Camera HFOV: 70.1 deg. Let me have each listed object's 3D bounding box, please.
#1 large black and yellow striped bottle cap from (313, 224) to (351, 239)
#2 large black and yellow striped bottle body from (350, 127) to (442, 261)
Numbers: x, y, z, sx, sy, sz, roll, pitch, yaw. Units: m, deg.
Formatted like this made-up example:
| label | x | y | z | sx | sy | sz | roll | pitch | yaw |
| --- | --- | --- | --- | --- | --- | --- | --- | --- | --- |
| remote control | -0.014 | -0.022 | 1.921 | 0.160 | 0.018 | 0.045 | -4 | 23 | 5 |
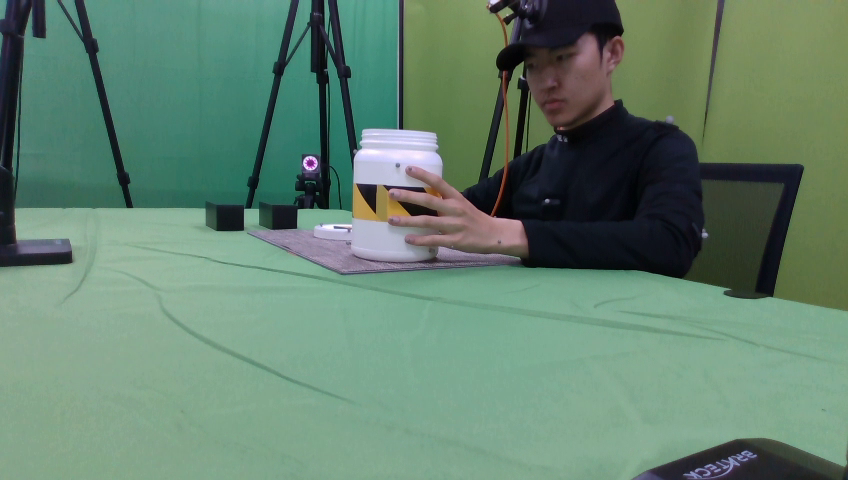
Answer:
| label | x | y | z | sx | sy | sz | roll | pitch | yaw |
| --- | --- | --- | --- | --- | --- | --- | --- | --- | --- |
| large black and yellow striped bottle cap | -0.145 | -0.017 | 1.109 | 0.115 | 0.019 | 0.115 | 3 | 7 | 0 |
| large black and yellow striped bottle body | -0.040 | -0.069 | 0.883 | 0.131 | 0.184 | 0.130 | 2 | 7 | 0 |
